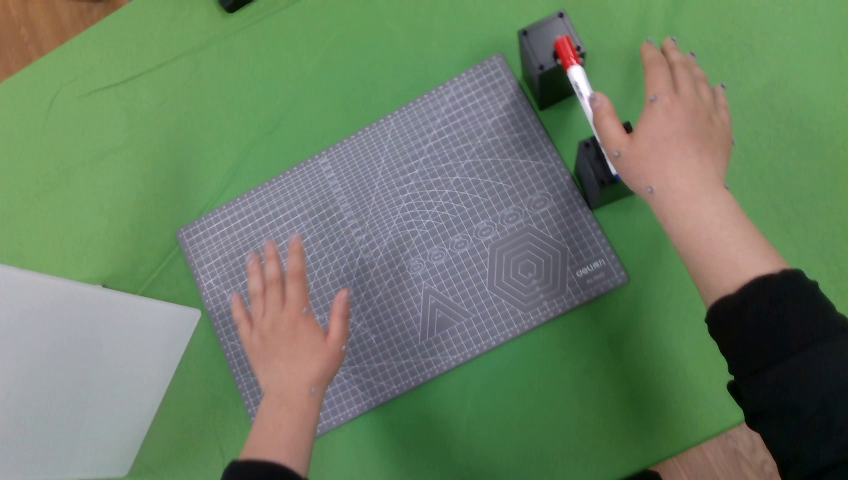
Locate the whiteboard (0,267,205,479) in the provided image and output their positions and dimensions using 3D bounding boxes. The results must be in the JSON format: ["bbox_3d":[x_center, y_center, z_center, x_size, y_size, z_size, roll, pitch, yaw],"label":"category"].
[{"bbox_3d":[-0.431,0.124,0.632,0.142,0.308,0.217,22,86,33],"label":"whiteboard"}]

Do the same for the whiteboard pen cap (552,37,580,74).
[{"bbox_3d":[0.136,-0.176,0.579,0.017,0.017,0.032,-21,79,7],"label":"whiteboard pen cap"}]

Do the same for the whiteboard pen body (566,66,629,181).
[{"bbox_3d":[0.158,-0.120,0.569,0.017,0.017,0.140,-22,78,7],"label":"whiteboard pen body"}]
